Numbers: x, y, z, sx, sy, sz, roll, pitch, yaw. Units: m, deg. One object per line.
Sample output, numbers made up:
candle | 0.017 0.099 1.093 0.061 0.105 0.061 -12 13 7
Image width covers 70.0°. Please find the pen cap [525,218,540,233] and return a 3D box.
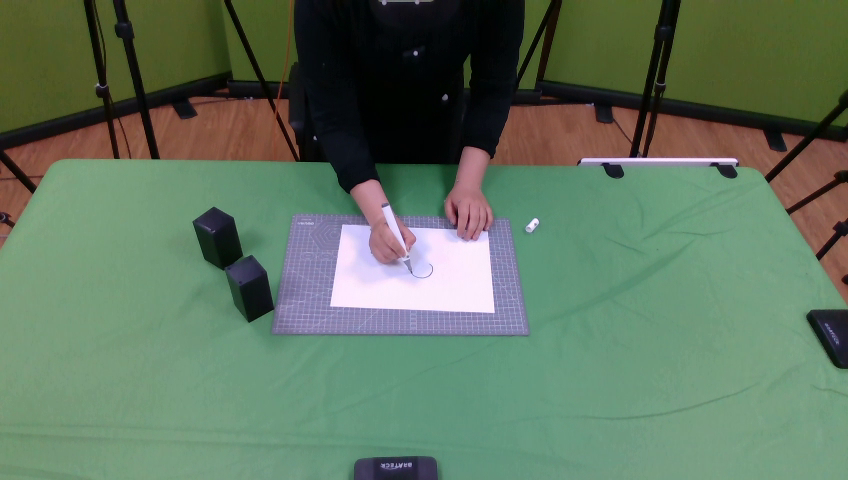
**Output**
pen cap | 0.224 -0.031 1.248 0.017 0.017 0.038 30 51 23

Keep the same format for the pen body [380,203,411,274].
pen body | -0.050 -0.001 1.125 0.017 0.144 0.017 -19 16 6
